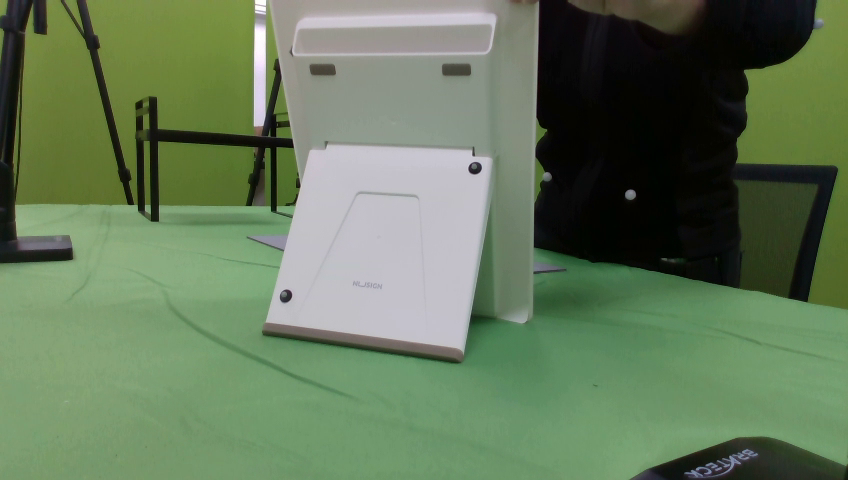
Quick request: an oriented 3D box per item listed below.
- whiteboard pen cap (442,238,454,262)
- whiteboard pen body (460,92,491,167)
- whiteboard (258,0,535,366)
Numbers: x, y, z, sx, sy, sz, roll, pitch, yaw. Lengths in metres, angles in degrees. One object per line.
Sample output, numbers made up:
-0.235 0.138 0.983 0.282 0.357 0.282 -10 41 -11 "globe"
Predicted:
0.033 0.014 0.851 0.018 0.033 0.018 3 5 0 "whiteboard pen cap"
0.047 -0.102 0.554 0.017 0.017 0.140 4 37 11 "whiteboard pen body"
-0.037 -0.041 0.456 0.216 0.305 0.144 5 27 19 "whiteboard"
